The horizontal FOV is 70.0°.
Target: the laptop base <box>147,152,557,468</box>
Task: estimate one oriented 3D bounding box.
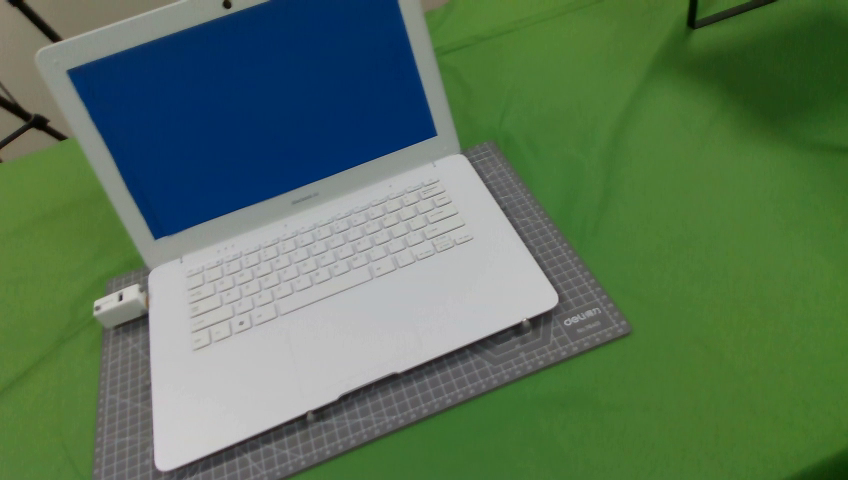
[{"bbox_3d":[-0.084,0.045,0.573,0.354,0.023,0.232,-22,49,-6],"label":"laptop base"}]

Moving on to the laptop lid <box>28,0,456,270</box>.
[{"bbox_3d":[-0.159,-0.130,0.604,0.357,0.243,0.013,-23,25,-6],"label":"laptop lid"}]

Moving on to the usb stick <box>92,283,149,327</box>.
[{"bbox_3d":[-0.290,0.061,0.594,0.059,0.027,0.021,-19,44,-8],"label":"usb stick"}]
